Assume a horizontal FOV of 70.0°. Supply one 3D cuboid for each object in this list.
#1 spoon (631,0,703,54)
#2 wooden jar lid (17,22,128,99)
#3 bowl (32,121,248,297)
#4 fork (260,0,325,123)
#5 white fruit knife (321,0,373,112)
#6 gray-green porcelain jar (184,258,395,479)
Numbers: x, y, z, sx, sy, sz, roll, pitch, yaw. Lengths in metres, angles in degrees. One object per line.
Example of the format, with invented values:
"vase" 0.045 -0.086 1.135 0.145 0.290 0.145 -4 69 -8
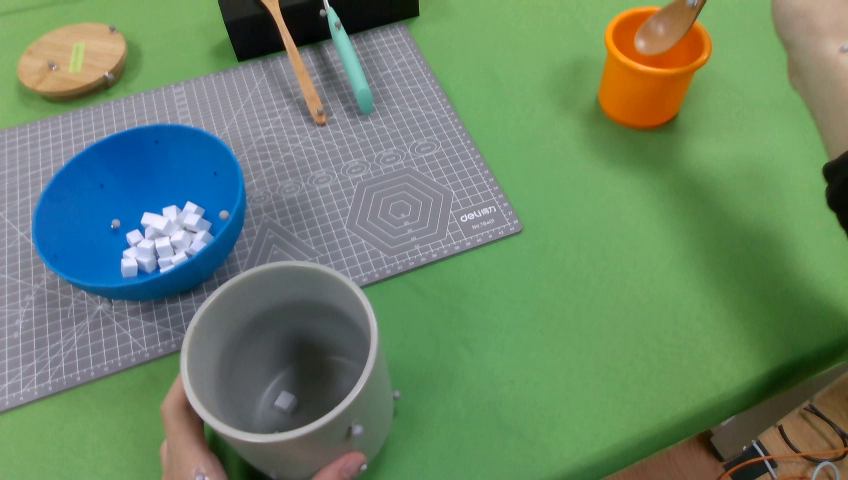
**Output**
"spoon" 0.237 -0.215 0.464 0.022 0.194 0.041 7 58 -30
"wooden jar lid" -0.362 -0.186 0.630 0.108 0.021 0.107 0 56 0
"bowl" -0.204 -0.011 0.470 0.151 0.077 0.150 -1 56 2
"fork" -0.139 -0.205 0.596 0.028 0.019 0.206 -21 77 -17
"white fruit knife" -0.092 -0.219 0.605 0.016 0.027 0.206 -19 72 -12
"gray-green porcelain jar" -0.073 0.088 0.375 0.106 0.127 0.105 -1 56 2
